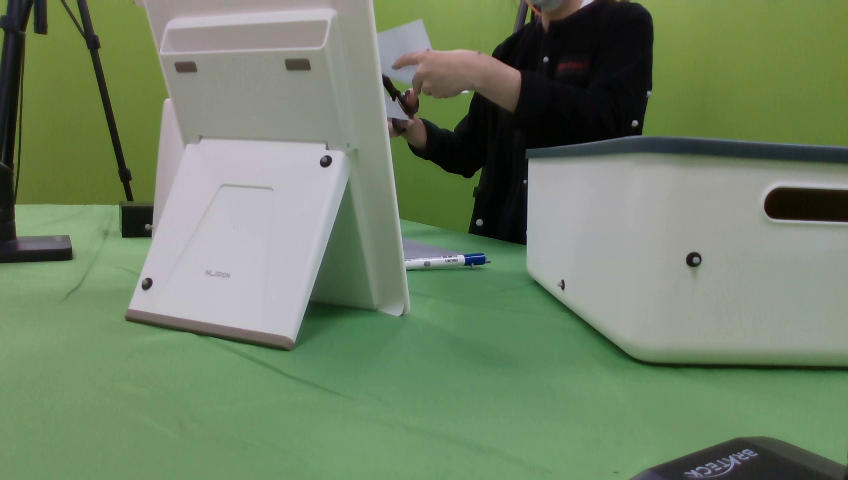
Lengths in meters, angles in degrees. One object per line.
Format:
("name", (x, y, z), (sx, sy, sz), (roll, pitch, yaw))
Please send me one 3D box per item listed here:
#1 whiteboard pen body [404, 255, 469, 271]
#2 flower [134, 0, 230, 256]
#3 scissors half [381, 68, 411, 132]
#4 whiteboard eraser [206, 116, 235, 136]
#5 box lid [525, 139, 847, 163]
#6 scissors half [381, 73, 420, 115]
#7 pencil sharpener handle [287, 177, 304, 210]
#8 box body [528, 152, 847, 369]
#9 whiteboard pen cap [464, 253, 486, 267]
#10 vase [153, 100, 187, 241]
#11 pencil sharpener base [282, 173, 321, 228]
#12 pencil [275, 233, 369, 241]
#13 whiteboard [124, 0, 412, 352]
("whiteboard pen body", (0.013, 0.030, 0.792), (0.141, 0.017, 0.017), (-3, 9, -24))
("flower", (-0.282, -0.147, 0.713), (0.038, 0.362, 0.044), (-23, 24, -31))
("scissors half", (-0.056, -0.249, 1.076), (0.012, 0.040, 0.176), (25, -20, 26))
("whiteboard eraser", (-0.450, -0.252, 1.335), (0.056, 0.042, 0.112), (1, 7, -22))
("box lid", (0.261, -0.078, 0.580), (0.264, 0.015, 0.371), (2, 7, -4))
("scissors half", (-0.046, -0.267, 1.079), (0.013, 0.040, 0.176), (20, 0, 25))
("pencil sharpener handle", (-0.269, -0.096, 1.257), (0.036, 0.067, 0.030), (-8, 8, -27))
("box body", (0.257, -0.005, 0.591), (0.254, 0.160, 0.363), (2, 7, -4))
("whiteboard pen cap", (0.066, 0.027, 0.818), (0.033, 0.018, 0.018), (-5, 10, -24))
("vase", (-0.278, -0.066, 0.736), (0.098, 0.200, 0.098), (2, 9, 0))
("pencil sharpener base", (-0.247, -0.080, 1.212), (0.061, 0.107, 0.076), (-2, 5, -28))
("pencil", (-0.169, -0.006, 1.036), (0.195, 0.012, 0.012), (-2, 9, -45))
("whiteboard", (-0.151, -0.049, 0.472), (0.216, 0.305, 0.144), (6, 27, 24))
